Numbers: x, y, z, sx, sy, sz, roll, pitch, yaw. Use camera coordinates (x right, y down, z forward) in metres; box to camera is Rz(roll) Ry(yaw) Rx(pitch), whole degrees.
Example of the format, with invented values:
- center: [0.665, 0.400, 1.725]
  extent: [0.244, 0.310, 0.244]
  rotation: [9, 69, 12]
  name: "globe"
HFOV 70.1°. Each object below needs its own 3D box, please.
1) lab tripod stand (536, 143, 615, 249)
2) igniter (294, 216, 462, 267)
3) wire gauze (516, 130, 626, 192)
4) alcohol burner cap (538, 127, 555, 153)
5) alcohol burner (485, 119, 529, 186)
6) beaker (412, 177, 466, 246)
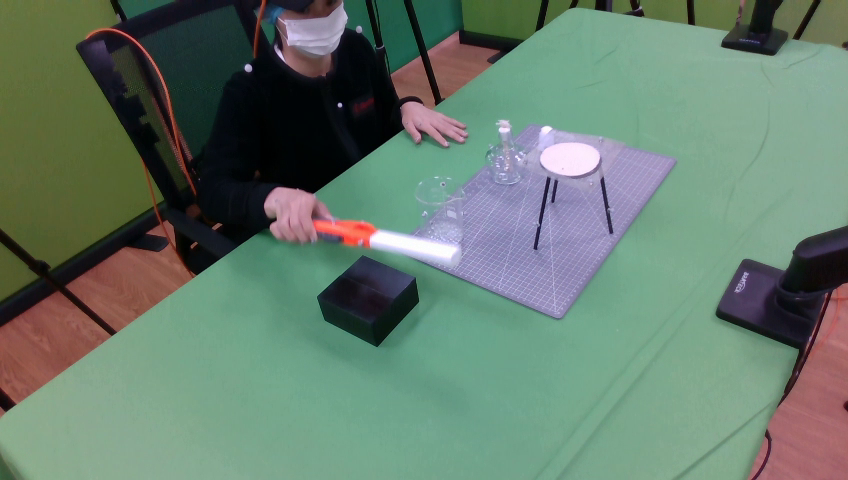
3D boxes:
- center: [0.224, -0.069, 0.931]
  extent: [0.148, 0.132, 0.147]
  rotation: [-4, 42, 4]
  name: "lab tripod stand"
- center: [-0.074, -0.001, 0.829]
  extent: [0.274, 0.025, 0.057]
  rotation: [11, 30, 29]
  name: "igniter"
- center: [0.216, -0.124, 0.892]
  extent: [0.124, 0.011, 0.122]
  rotation: [22, 49, 31]
  name: "wire gauze"
- center: [0.234, -0.191, 1.147]
  extent: [0.034, 0.048, 0.033]
  rotation: [-5, 40, 5]
  name: "alcohol burner cap"
- center: [0.145, -0.157, 1.064]
  extent: [0.078, 0.119, 0.077]
  rotation: [-6, 39, 5]
  name: "alcohol burner"
- center: [0.029, -0.038, 0.952]
  extent: [0.083, 0.101, 0.074]
  rotation: [9, 43, 18]
  name: "beaker"
